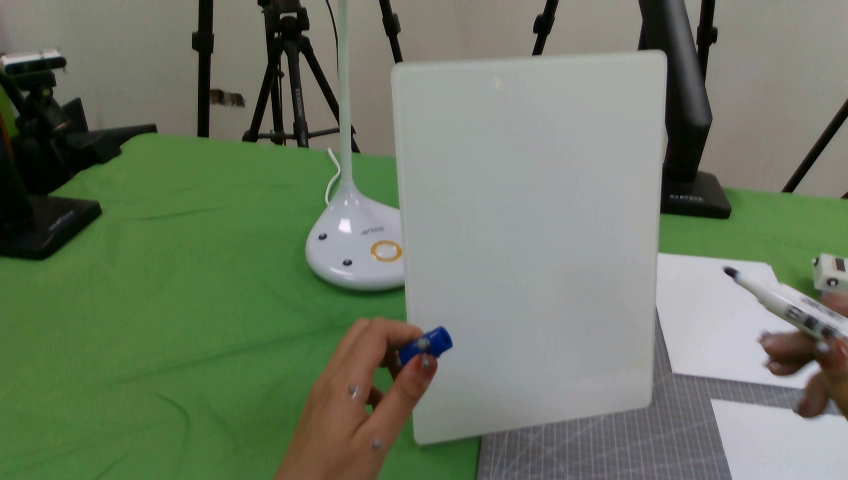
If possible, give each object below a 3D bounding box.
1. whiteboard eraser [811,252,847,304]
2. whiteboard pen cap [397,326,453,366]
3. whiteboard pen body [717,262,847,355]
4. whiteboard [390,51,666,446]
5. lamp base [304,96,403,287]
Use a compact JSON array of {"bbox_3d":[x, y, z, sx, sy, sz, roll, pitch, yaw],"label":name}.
[{"bbox_3d":[0.497,0.051,0.674,0.112,0.042,0.055,16,37,20],"label":"whiteboard eraser"},{"bbox_3d":[0.001,0.065,0.380,0.033,0.018,0.018,-27,28,18],"label":"whiteboard pen cap"},{"bbox_3d":[0.193,0.046,0.266,0.017,0.017,0.139,-23,44,-32],"label":"whiteboard pen body"},{"bbox_3d":[0.078,-0.003,0.547,0.218,0.306,0.143,-6,15,-10],"label":"whiteboard"},{"bbox_3d":[-0.070,-0.064,0.696,0.161,0.181,0.177,-22,38,-32],"label":"lamp base"}]
